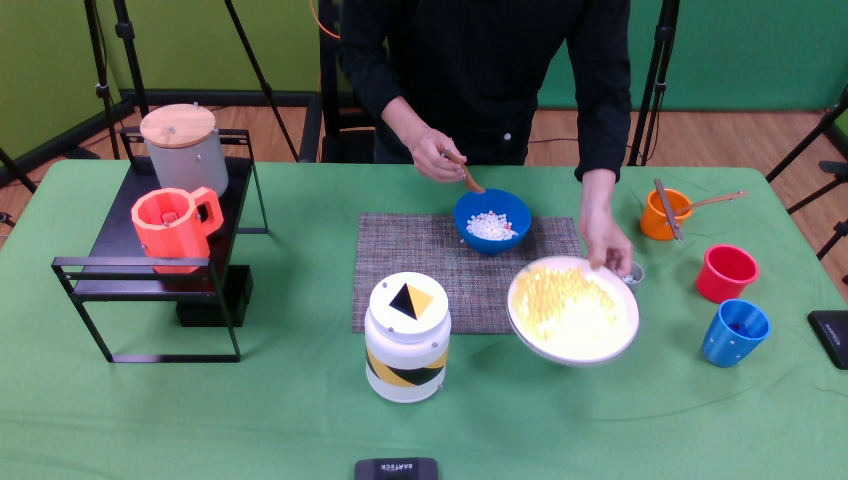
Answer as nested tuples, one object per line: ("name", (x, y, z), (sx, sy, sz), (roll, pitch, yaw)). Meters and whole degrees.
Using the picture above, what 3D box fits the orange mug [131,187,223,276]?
("orange mug", (-0.354, -0.022, 0.888), (0.083, 0.101, 0.126), (31, 55, 24))

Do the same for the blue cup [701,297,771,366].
("blue cup", (0.519, 0.162, 1.025), (0.093, 0.101, 0.092), (3, 45, -3))

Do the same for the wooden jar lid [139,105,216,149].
("wooden jar lid", (-0.372, -0.169, 0.920), (0.108, 0.021, 0.107), (4, 44, -4))

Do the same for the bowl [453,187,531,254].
("bowl", (0.128, -0.025, 1.187), (0.151, 0.077, 0.150), (2, 46, -2))

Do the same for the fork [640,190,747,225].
("fork", (0.533, -0.065, 1.211), (0.207, 0.019, 0.028), (-22, 28, 38))

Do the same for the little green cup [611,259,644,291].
("little green cup", (0.379, 0.070, 1.147), (0.061, 0.039, 0.061), (3, 46, -2))

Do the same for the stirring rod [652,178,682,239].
("stirring rod", (0.481, -0.065, 1.203), (0.014, 0.006, 0.175), (3, 46, -2))

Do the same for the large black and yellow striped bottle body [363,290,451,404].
("large black and yellow striped bottle body", (-0.027, 0.153, 0.935), (0.131, 0.185, 0.130), (2, 46, -2))

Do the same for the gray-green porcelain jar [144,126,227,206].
("gray-green porcelain jar", (-0.375, -0.125, 0.967), (0.106, 0.127, 0.105), (2, 46, -2))

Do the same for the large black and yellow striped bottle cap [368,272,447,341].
("large black and yellow striped bottle cap", (-0.023, 0.093, 0.875), (0.115, 0.019, 0.114), (3, 46, -3))

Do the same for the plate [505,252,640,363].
("plate", (0.233, 0.108, 0.964), (0.209, 0.038, 0.208), (0, 48, 0))

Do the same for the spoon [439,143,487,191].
("spoon", (0.063, -0.120, 1.003), (0.041, 0.195, 0.021), (28, 83, 28))
